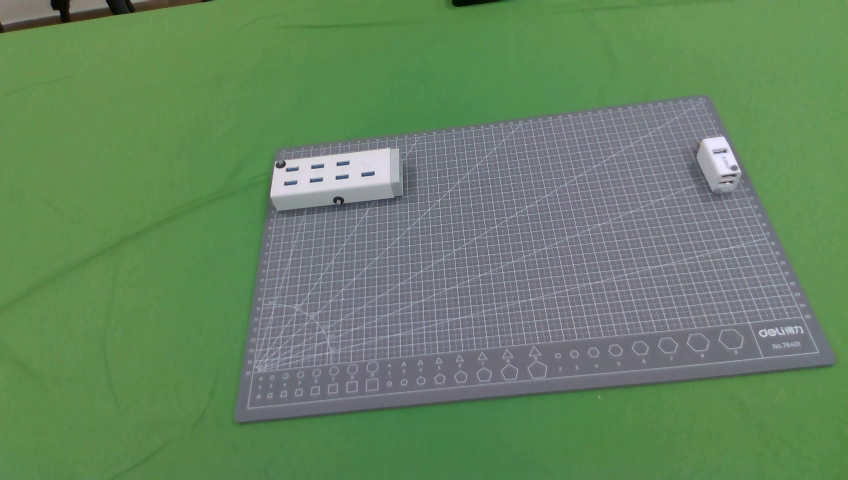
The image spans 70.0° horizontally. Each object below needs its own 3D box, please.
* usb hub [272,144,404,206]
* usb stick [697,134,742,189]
[{"bbox_3d":[-0.083,-0.064,0.591,0.125,0.025,0.049,-5,54,4],"label":"usb hub"},{"bbox_3d":[0.263,-0.076,0.546,0.021,0.027,0.058,-8,51,5],"label":"usb stick"}]
